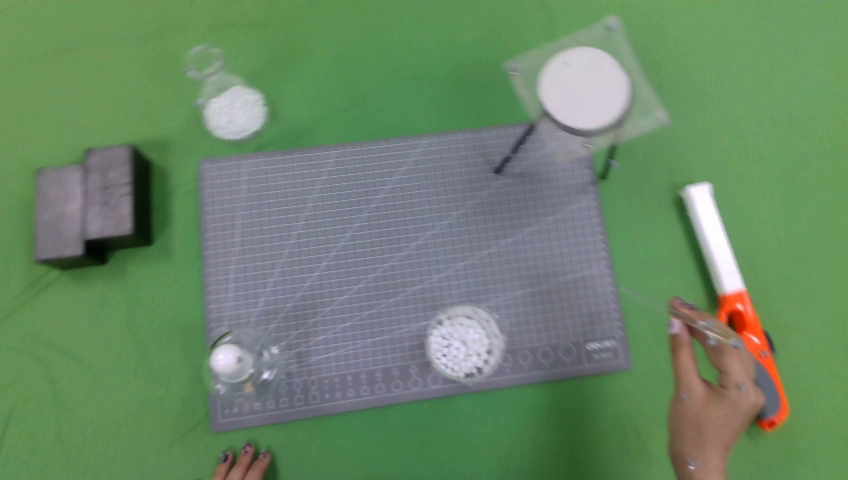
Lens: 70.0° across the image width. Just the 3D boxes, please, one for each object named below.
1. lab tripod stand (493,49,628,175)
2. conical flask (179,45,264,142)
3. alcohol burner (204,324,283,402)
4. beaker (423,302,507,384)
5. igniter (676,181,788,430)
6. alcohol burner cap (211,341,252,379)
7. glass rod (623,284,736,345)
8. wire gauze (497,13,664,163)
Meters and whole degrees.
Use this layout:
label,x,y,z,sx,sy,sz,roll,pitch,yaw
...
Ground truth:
label,x,y,z,sx,sy,sz,roll,pitch,yaw
lab tripod stand,0.147,-0.127,0.647,0.148,0.132,0.147,1,78,-3
conical flask,-0.221,-0.161,0.648,0.075,0.122,0.075,0,77,-1
alcohol burner,-0.179,0.118,0.590,0.078,0.119,0.077,1,75,-3
beaker,0.039,0.103,0.608,0.084,0.100,0.073,-26,79,-7
igniter,0.337,0.067,0.665,0.057,0.025,0.275,-12,78,-15
alcohol burner cap,-0.178,0.108,0.555,0.034,0.048,0.033,3,68,-6
glass rod,0.218,0.062,0.537,0.008,0.199,0.008,-1,97,-4
wire gauze,0.151,-0.146,0.582,0.125,0.011,0.121,-23,81,-7
